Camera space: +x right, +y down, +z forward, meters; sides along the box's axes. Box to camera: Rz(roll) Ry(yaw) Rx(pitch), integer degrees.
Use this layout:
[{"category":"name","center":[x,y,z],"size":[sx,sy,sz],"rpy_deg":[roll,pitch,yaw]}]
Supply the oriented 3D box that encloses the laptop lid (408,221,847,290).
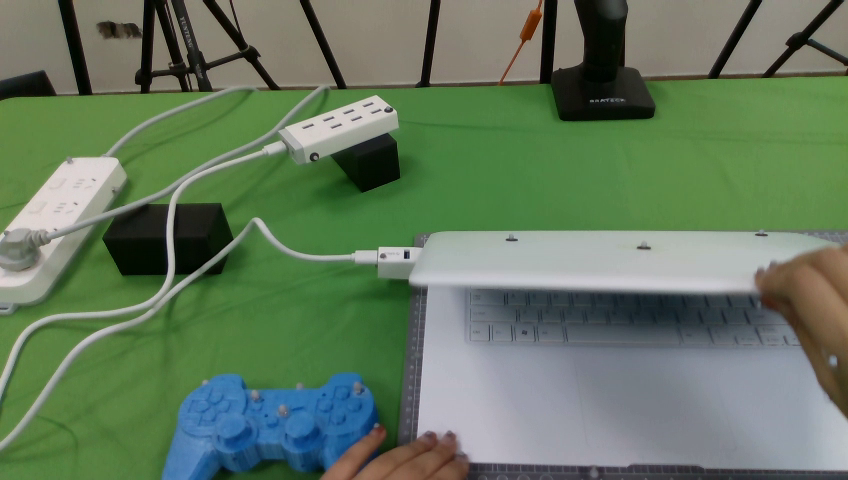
[{"category":"laptop lid","center":[0.172,0.006,0.474],"size":[0.356,0.013,0.241],"rpy_deg":[1,10,5]}]

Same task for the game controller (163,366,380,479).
[{"category":"game controller","center":[-0.108,0.136,0.446],"size":[0.155,0.052,0.096],"rpy_deg":[0,39,3]}]

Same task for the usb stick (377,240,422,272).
[{"category":"usb stick","center":[-0.014,0.015,0.566],"size":[0.059,0.027,0.021],"rpy_deg":[3,43,-5]}]

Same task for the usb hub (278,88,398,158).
[{"category":"usb hub","center":[-0.094,-0.130,0.672],"size":[0.125,0.025,0.049],"rpy_deg":[-26,49,-21]}]

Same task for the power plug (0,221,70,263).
[{"category":"power plug","center":[-0.367,0.010,0.571],"size":[0.072,0.053,0.035],"rpy_deg":[11,44,11]}]

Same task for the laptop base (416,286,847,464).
[{"category":"laptop base","center":[0.176,0.077,0.511],"size":[0.354,0.023,0.233],"rpy_deg":[0,46,4]}]

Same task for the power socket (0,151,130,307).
[{"category":"power socket","center":[-0.390,-0.024,0.643],"size":[0.072,0.033,0.224],"rpy_deg":[2,43,5]}]
